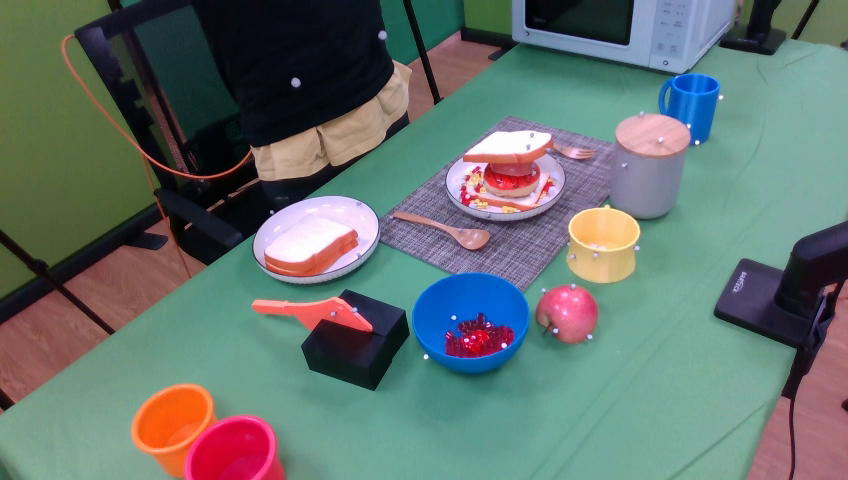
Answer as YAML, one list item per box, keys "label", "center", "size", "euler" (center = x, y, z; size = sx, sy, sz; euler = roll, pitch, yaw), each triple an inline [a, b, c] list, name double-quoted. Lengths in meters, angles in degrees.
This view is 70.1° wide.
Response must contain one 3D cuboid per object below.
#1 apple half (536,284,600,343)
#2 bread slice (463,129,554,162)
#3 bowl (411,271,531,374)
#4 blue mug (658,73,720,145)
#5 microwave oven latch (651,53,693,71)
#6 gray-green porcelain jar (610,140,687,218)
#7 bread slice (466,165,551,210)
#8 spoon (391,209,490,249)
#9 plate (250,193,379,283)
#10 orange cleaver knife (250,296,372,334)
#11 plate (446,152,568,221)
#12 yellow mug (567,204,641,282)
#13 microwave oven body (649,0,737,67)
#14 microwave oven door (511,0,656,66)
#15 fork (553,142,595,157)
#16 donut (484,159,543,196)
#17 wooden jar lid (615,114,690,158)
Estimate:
- label: "apple half"
  center: [0.196, 0.091, 0.815]
  size: [0.075, 0.053, 0.080]
  euler: [-22, 42, -20]
- label: "bread slice"
  center: [0.143, -0.154, 0.974]
  size: [0.130, 0.019, 0.105]
  euler: [9, 35, 38]
- label: "bowl"
  center: [0.062, 0.119, 0.780]
  size: [0.151, 0.077, 0.150]
  euler: [-4, 40, 4]
- label: "blue mug"
  center: [0.483, -0.250, 1.127]
  size: [0.082, 0.106, 0.115]
  euler: [-26, 44, -19]
- label: "microwave oven latch"
  center: [0.532, -0.386, 1.301]
  size: [0.078, 0.029, 0.030]
  euler: [27, 52, 34]
- label: "gray-green porcelain jar"
  center: [0.354, -0.106, 0.964]
  size: [0.106, 0.127, 0.105]
  euler: [-4, 41, 4]
- label: "bread slice"
  center: [0.141, -0.093, 1.041]
  size: [0.133, 0.018, 0.107]
  euler: [8, 42, 20]
- label: "spoon"
  center: [0.023, -0.025, 0.989]
  size: [0.192, 0.022, 0.041]
  euler: [20, 71, 28]
- label: "plate"
  center: [-0.174, -0.001, 0.985]
  size: [0.209, 0.038, 0.208]
  euler: [-4, 40, 4]
- label: "orange cleaver knife"
  center: [-0.159, 0.103, 0.828]
  size: [0.210, 0.078, 0.012]
  euler: [-4, 43, 39]
- label: "plate"
  center: [0.143, -0.097, 1.045]
  size: [0.207, 0.039, 0.206]
  euler: [-4, 40, 4]
- label: "yellow mug"
  center: [0.268, -0.005, 0.905]
  size: [0.099, 0.064, 0.130]
  euler: [6, 42, 16]
- label: "microwave oven body"
  center: [0.475, -0.602, 1.411]
  size: [0.438, 0.261, 0.327]
  euler: [23, 50, 32]
- label: "microwave oven door"
  center: [0.351, -0.539, 1.349]
  size: [0.353, 0.245, 0.039]
  euler: [24, 50, 31]
- label: "fork"
  center: [0.225, -0.186, 1.151]
  size: [0.206, 0.019, 0.028]
  euler: [20, 61, 27]
- label: "donut"
  center: [0.150, -0.112, 1.018]
  size: [0.099, 0.048, 0.098]
  euler: [-5, 40, 4]
- label: "wooden jar lid"
  center: [0.347, -0.155, 0.923]
  size: [0.108, 0.021, 0.108]
  euler: [-3, 44, 4]
